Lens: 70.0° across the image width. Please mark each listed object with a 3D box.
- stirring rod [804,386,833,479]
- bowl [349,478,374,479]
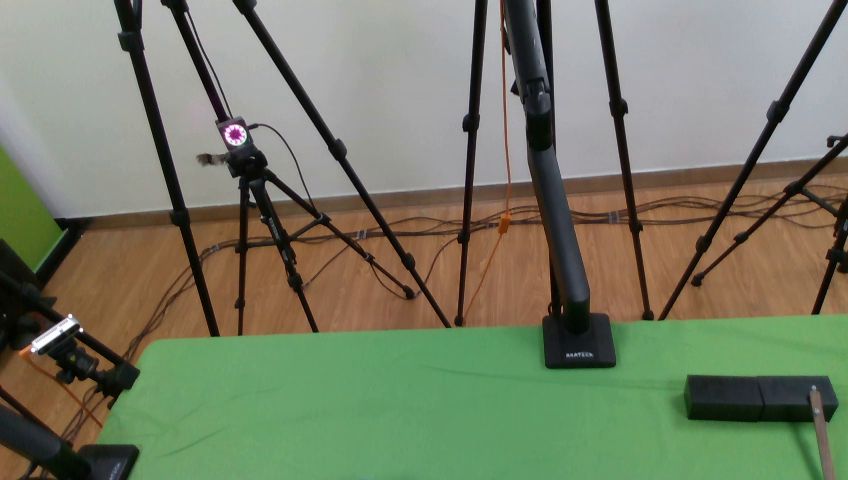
[{"bbox_3d":[0.557,0.292,0.849,0.014,0.006,0.174,0,62,10],"label":"stirring rod"},{"bbox_3d":[-0.090,0.423,0.850,0.151,0.077,0.150,-6,42,6],"label":"bowl"}]
